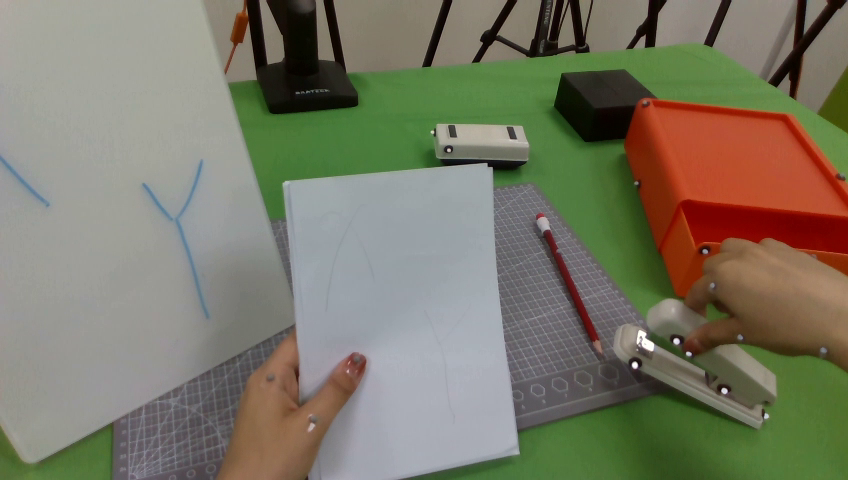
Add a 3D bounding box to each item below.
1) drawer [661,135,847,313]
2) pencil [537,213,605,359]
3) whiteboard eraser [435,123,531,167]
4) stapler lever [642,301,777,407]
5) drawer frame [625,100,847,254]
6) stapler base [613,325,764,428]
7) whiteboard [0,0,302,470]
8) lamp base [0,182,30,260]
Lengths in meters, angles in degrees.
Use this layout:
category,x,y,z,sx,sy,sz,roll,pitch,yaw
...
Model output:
category,x,y,z,sx,sy,sz,roll,pitch,yaw
drawer,0.348,-0.026,0.640,0.194,0.074,0.210,5,40,1
pencil,0.142,0.038,0.590,0.012,0.012,0.192,-2,43,-10
whiteboard eraser,0.071,-0.115,0.738,0.113,0.042,0.055,1,42,-6
stapler lever,0.230,0.089,0.481,0.118,0.040,0.026,27,45,4
drawer frame,0.352,-0.067,0.687,0.202,0.083,0.211,5,40,0
stapler base,0.222,0.106,0.498,0.130,0.024,0.041,27,45,4
whiteboard,-0.252,-0.038,0.449,0.217,0.308,0.142,-27,31,-31
lamp base,-0.460,-0.069,0.509,0.178,0.182,0.160,17,42,16
